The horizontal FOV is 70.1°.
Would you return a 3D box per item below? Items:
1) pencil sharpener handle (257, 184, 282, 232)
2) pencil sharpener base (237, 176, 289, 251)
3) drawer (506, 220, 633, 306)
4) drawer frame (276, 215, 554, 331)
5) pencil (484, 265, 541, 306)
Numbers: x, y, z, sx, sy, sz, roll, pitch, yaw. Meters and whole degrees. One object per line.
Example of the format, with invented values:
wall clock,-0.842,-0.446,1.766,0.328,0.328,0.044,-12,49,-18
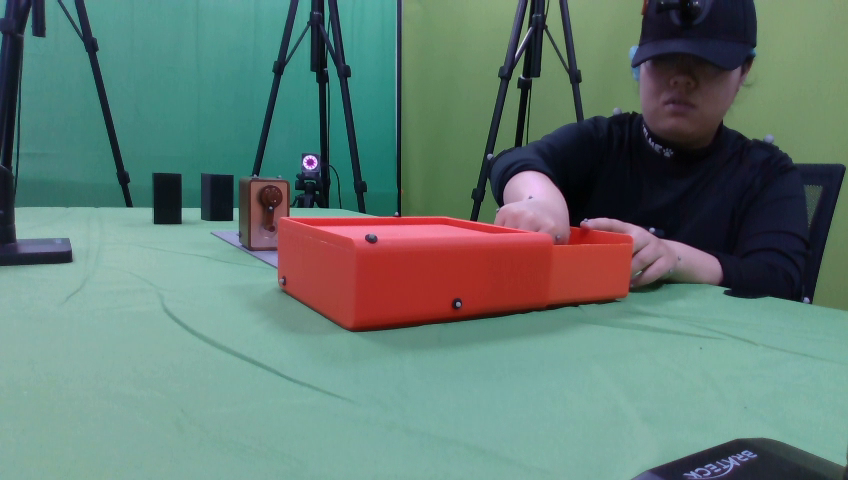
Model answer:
pencil sharpener handle,-0.220,-0.046,0.865,0.036,0.067,0.030,7,4,-29
pencil sharpener base,-0.243,-0.040,0.911,0.061,0.107,0.076,-1,8,-28
drawer,0.086,0.021,0.673,0.213,0.073,0.193,-2,9,-32
drawer frame,-0.015,0.022,0.610,0.215,0.082,0.200,-2,9,-32
pencil,0.098,0.050,0.687,0.012,0.012,0.193,2,8,-10
